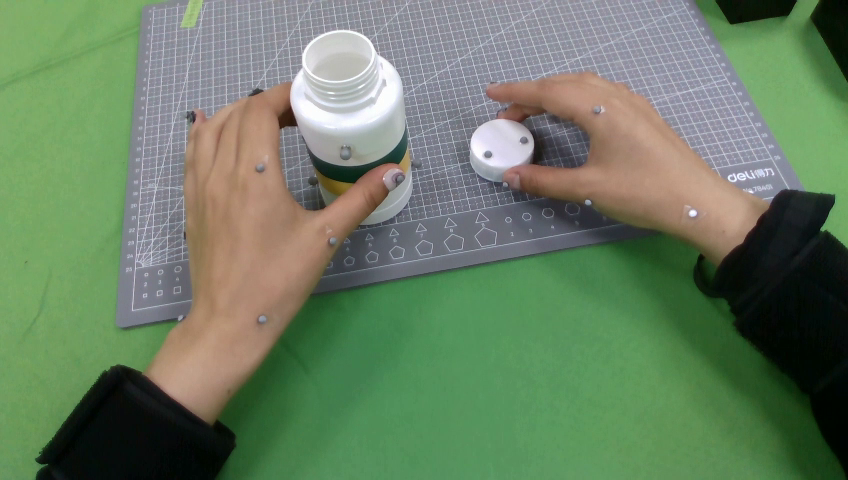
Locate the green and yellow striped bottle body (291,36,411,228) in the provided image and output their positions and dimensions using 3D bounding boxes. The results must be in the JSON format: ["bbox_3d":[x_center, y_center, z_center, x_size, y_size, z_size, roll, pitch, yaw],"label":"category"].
[{"bbox_3d":[-0.042,-0.063,0.364,0.063,0.120,0.062,-1,60,2],"label":"green and yellow striped bottle body"}]

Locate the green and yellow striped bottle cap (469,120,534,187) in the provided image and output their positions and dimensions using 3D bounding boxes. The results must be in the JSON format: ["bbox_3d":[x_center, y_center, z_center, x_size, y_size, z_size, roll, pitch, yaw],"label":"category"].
[{"bbox_3d":[0.053,-0.060,0.416,0.045,0.020,0.045,-1,62,2],"label":"green and yellow striped bottle cap"}]
